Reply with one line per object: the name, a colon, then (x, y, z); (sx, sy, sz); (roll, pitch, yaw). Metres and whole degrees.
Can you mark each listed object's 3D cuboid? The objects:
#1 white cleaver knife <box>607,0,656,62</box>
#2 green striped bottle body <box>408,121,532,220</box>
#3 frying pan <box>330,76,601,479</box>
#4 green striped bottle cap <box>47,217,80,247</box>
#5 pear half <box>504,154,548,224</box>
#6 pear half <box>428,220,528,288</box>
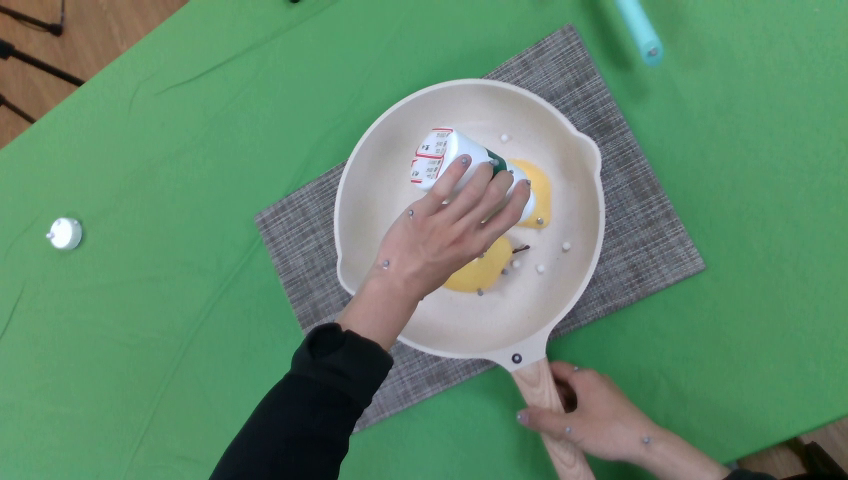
white cleaver knife: (0.171, -0.309, 0.630); (0.021, 0.066, 0.285); (-26, 79, 21)
green striped bottle body: (0.049, -0.059, 0.569); (0.063, 0.120, 0.062); (-30, 49, 41)
frying pan: (0.079, 0.067, 0.629); (0.306, 0.103, 0.484); (-26, 73, 16)
green striped bottle cap: (-0.515, -0.011, 0.865); (0.044, 0.020, 0.044); (0, 89, 18)
pear half: (0.099, -0.055, 0.661); (0.070, 0.031, 0.087); (-45, 72, 16)
pear half: (0.058, 0.012, 0.662); (0.109, 0.056, 0.076); (-15, 89, 15)
